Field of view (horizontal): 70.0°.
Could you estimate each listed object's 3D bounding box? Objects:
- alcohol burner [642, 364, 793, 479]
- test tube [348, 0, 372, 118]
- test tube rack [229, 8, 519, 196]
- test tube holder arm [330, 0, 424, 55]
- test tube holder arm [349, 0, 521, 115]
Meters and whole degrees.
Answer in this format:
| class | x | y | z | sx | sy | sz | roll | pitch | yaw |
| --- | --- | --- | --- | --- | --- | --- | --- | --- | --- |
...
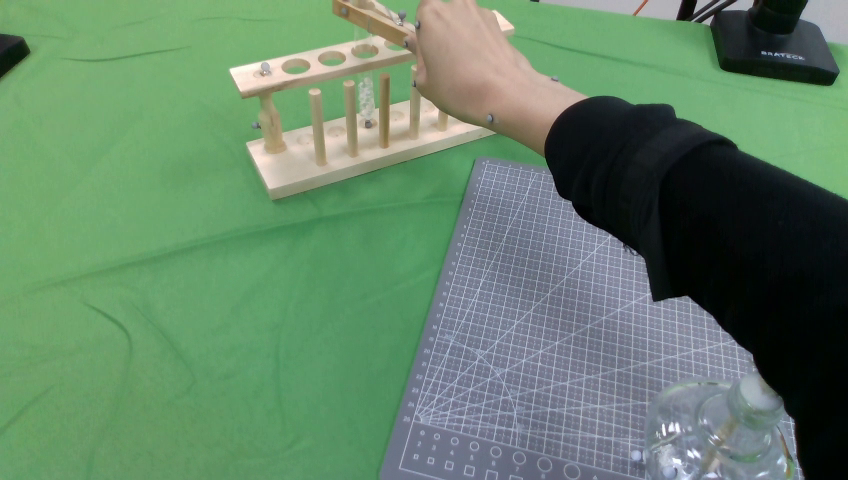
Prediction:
| class | x | y | z | sx | sy | sz | roll | pitch | yaw |
| --- | --- | --- | --- | --- | --- | --- | --- | --- | --- |
| alcohol burner | 0.158 | 0.097 | 0.316 | 0.078 | 0.120 | 0.077 | 1 | 50 | 0 |
| test tube | -0.052 | -0.164 | 0.491 | 0.017 | 0.151 | 0.017 | 1 | 47 | -1 |
| test tube rack | -0.031 | -0.123 | 0.523 | 0.243 | 0.086 | 0.066 | -19 | 53 | -19 |
| test tube holder arm | -0.035 | -0.165 | 0.461 | 0.087 | 0.015 | 0.010 | 30 | 53 | 17 |
| test tube holder arm | 0.002 | -0.143 | 0.448 | 0.177 | 0.015 | 0.013 | 39 | 57 | 23 |
